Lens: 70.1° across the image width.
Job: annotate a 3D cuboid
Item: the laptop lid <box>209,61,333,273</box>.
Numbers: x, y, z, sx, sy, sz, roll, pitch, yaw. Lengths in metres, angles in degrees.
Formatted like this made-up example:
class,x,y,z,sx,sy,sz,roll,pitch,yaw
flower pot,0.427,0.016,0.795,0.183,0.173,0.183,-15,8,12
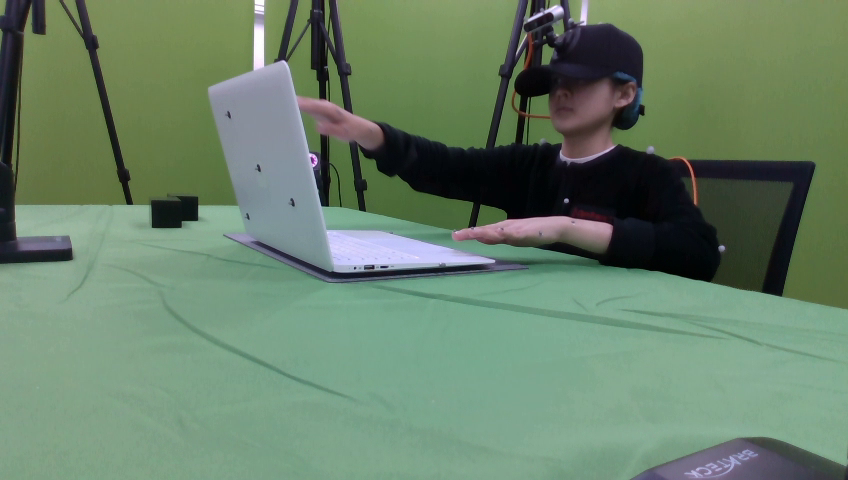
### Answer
class,x,y,z,sx,sy,sz,roll,pitch,yaw
laptop lid,-0.213,-0.095,0.790,0.013,0.241,0.355,-18,18,-29

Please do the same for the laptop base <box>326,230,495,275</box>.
class,x,y,z,sx,sy,sz,roll,pitch,yaw
laptop base,-0.093,0.016,0.883,0.237,0.023,0.352,3,6,-32
